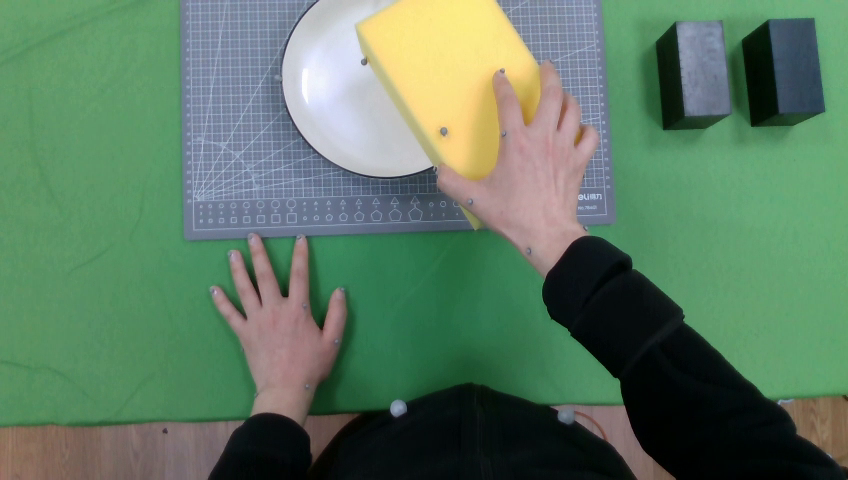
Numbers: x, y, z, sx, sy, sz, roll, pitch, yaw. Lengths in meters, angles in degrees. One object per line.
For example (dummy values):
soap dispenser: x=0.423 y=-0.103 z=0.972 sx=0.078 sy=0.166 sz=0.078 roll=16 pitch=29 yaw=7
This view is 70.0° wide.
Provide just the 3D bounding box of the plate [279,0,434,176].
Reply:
plate: x=-0.040 y=-0.166 z=0.626 sx=0.209 sy=0.038 sz=0.208 roll=0 pitch=85 yaw=-4

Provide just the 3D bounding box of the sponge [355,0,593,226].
sponge: x=0.042 y=-0.131 z=0.552 sx=0.118 sy=0.061 sz=0.206 roll=-33 pitch=85 yaw=-4
